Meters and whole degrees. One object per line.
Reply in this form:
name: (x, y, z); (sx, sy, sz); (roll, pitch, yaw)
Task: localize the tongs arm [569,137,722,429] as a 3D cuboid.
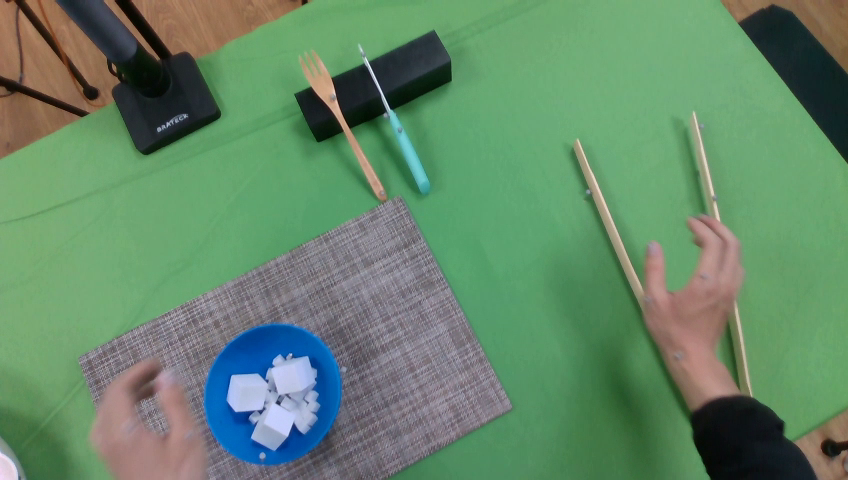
tongs arm: (0.258, 0.045, 0.735); (0.028, 0.028, 0.385); (-19, 76, -5)

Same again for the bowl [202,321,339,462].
bowl: (-0.165, 0.173, 0.692); (0.151, 0.077, 0.150); (-1, 75, 2)

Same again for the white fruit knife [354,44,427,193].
white fruit knife: (-0.045, -0.156, 0.773); (0.016, 0.027, 0.207); (-26, 90, -9)

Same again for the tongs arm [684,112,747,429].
tongs arm: (0.337, 0.028, 0.732); (0.051, 0.026, 0.382); (-7, 77, 2)

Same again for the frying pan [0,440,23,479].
frying pan: (-0.535, 0.413, 0.639); (0.307, 0.103, 0.483); (-28, 68, -4)

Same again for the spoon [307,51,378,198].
spoon: (-0.100, -0.143, 0.767); (0.041, 0.021, 0.194); (-17, 96, 21)
